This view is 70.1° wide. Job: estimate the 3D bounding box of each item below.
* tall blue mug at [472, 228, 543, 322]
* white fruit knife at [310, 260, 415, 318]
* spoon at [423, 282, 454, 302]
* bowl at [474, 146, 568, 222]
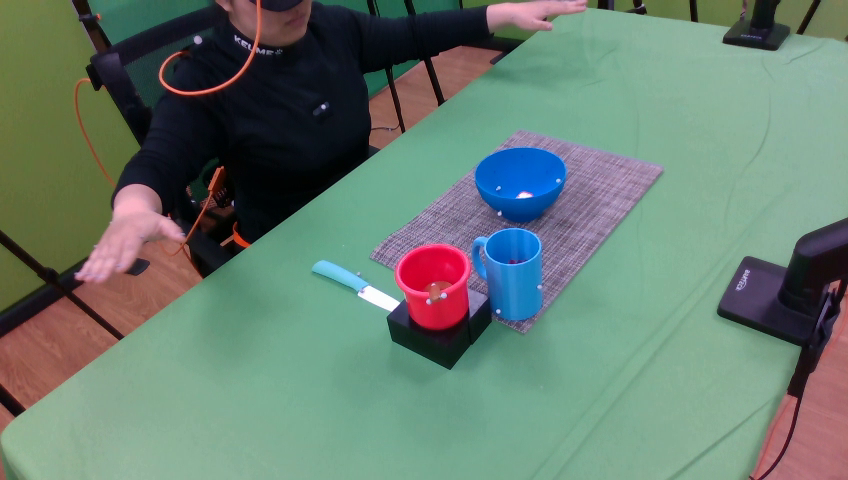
[{"bbox_3d":[0.110,0.046,0.832,0.107,0.108,0.077,6,43,18],"label":"tall blue mug"},{"bbox_3d":[-0.094,0.074,0.920,0.206,0.016,0.027,24,77,31],"label":"white fruit knife"},{"bbox_3d":[0.015,0.062,0.733,0.041,0.021,0.194,-5,-4,3],"label":"spoon"},{"bbox_3d":[0.161,-0.083,1.000,0.151,0.077,0.150,-5,40,5],"label":"bowl"}]
